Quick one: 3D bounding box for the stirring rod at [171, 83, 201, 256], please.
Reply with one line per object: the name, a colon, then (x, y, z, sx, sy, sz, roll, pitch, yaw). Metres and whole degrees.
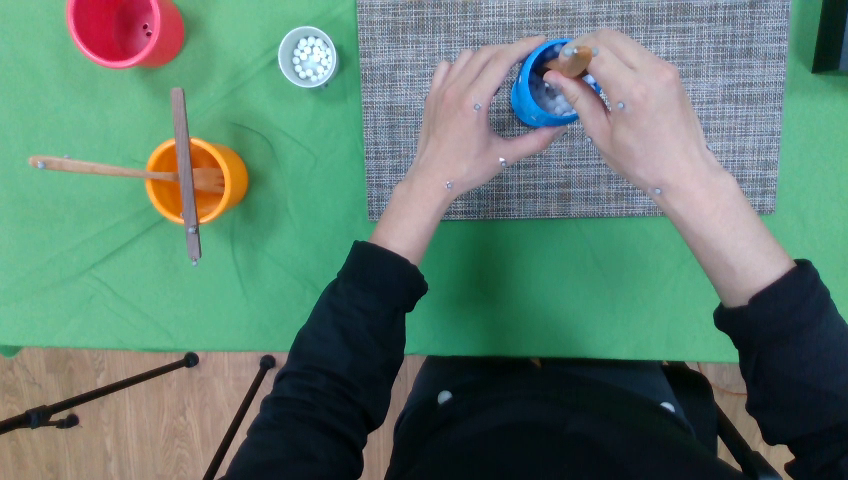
stirring rod: (-0.244, -0.070, 0.623, 0.014, 0.006, 0.176, -1, 100, 4)

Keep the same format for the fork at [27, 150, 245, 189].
fork: (-0.287, -0.073, 0.627, 0.209, 0.018, 0.028, 3, 112, -41)

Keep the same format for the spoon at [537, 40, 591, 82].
spoon: (0.110, -0.132, 0.457, 0.041, 0.193, 0.022, 16, 106, 4)

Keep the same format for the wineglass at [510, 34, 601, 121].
wineglass: (0.118, -0.147, 0.570, 0.073, 0.172, 0.074, 1, 100, 5)

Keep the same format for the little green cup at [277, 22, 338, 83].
little green cup: (-0.122, -0.198, 0.648, 0.061, 0.038, 0.062, 1, 101, 4)
